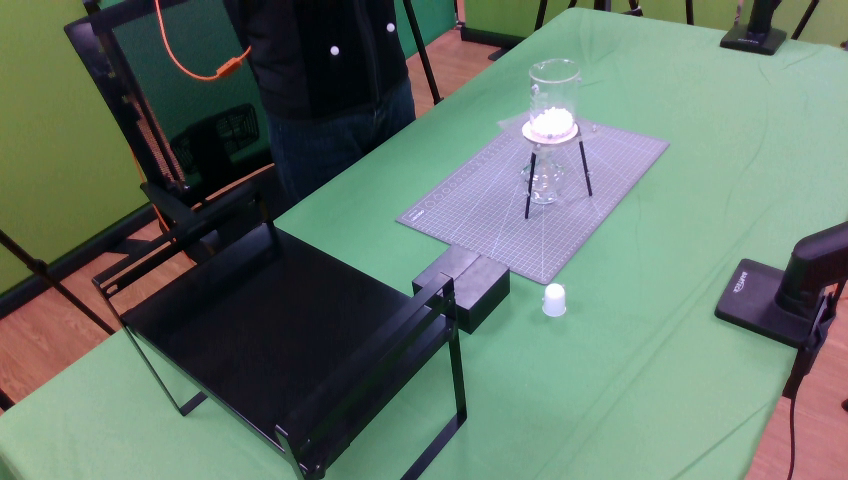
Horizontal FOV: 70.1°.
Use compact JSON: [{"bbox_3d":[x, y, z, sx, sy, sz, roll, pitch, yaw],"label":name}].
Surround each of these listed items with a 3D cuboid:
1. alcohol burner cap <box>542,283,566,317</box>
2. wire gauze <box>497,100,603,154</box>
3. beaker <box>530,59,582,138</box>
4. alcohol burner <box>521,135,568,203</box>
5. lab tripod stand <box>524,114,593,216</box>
[{"bbox_3d":[0.181,0.081,0.839,0.034,0.048,0.033,-4,40,3],"label":"alcohol burner cap"},{"bbox_3d":[0.199,-0.179,0.962,0.125,0.011,0.120,-21,42,-12],"label":"wire gauze"},{"bbox_3d":[0.198,-0.217,0.932,0.074,0.101,0.083,-22,43,-16],"label":"beaker"},{"bbox_3d":[0.201,-0.122,1.012,0.078,0.119,0.077,-6,41,6],"label":"alcohol burner"},{"bbox_3d":[0.210,-0.127,1.001,0.148,0.132,0.147,-4,43,4],"label":"lab tripod stand"}]
